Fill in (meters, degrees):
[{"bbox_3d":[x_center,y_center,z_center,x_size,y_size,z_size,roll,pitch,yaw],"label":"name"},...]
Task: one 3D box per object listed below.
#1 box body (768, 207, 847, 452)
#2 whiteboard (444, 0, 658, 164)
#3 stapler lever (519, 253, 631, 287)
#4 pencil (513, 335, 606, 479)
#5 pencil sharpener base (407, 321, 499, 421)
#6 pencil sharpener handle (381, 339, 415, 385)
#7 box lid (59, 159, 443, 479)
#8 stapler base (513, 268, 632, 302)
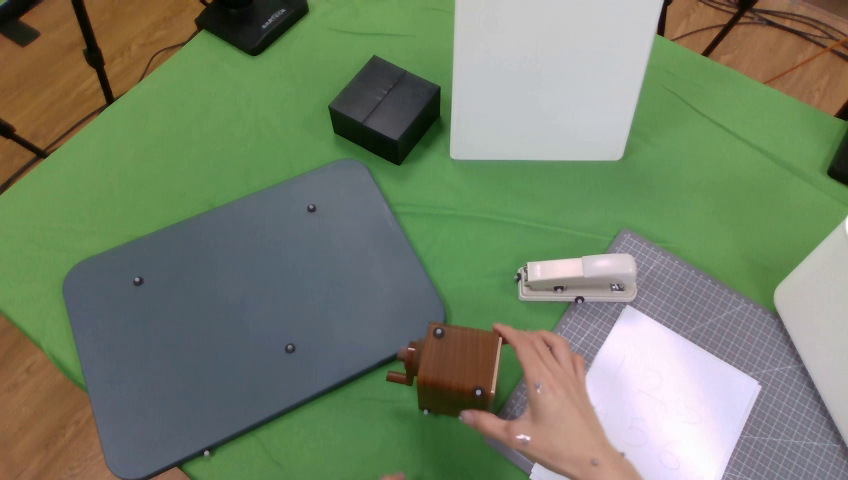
[{"bbox_3d":[0.525,0.140,0.543,0.254,0.161,0.360,-12,62,-7],"label":"box body"},{"bbox_3d":[0.135,-0.258,0.710,0.217,0.308,0.142,1,42,1],"label":"whiteboard"},{"bbox_3d":[0.162,0.032,0.649,0.118,0.040,0.026,0,57,3],"label":"stapler lever"},{"bbox_3d":[0.138,0.177,0.607,0.012,0.012,0.192,-24,63,-12],"label":"pencil"},{"bbox_3d":[0.026,0.127,0.580,0.076,0.108,0.061,9,62,5],"label":"pencil sharpener base"},{"bbox_3d":[-0.025,0.116,0.571,0.030,0.068,0.035,9,48,6],"label":"pencil sharpener handle"},{"bbox_3d":[-0.193,0.067,0.666,0.372,0.015,0.261,-24,64,-13],"label":"box lid"},{"bbox_3d":[0.165,0.045,0.670,0.130,0.024,0.041,-1,57,3],"label":"stapler base"}]
